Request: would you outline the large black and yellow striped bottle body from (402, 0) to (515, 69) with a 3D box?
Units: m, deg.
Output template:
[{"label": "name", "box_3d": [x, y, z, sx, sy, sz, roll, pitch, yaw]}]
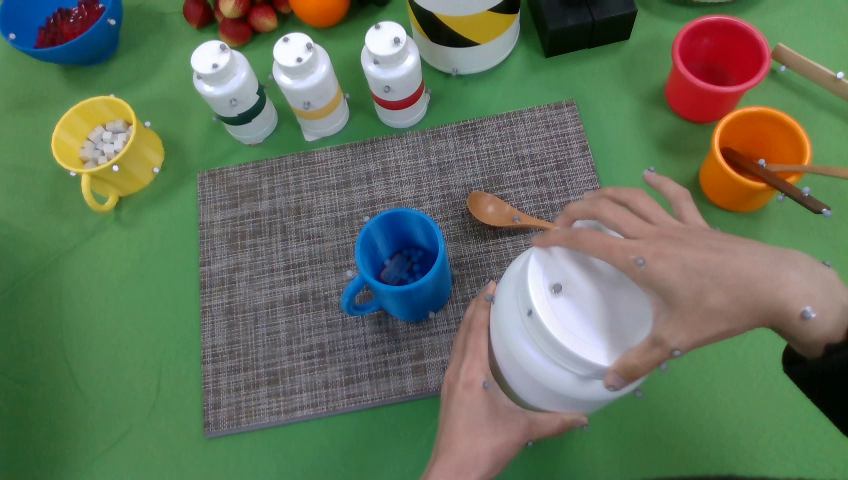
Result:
[{"label": "large black and yellow striped bottle body", "box_3d": [0.036, -0.294, 0.667, 0.130, 0.185, 0.130, -2, 69, 5]}]

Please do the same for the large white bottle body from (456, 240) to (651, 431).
[{"label": "large white bottle body", "box_3d": [0.108, 0.075, 0.502, 0.131, 0.185, 0.129, 5, 60, -9]}]

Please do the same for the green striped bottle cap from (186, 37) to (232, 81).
[{"label": "green striped bottle cap", "box_3d": [-0.225, -0.189, 0.632, 0.044, 0.020, 0.044, -1, 68, 4]}]

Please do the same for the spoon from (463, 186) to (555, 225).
[{"label": "spoon", "box_3d": [0.132, -0.015, 0.635, 0.193, 0.022, 0.041, 19, 51, 12]}]

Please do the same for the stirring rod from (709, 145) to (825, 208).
[{"label": "stirring rod", "box_3d": [0.320, -0.065, 0.578, 0.014, 0.006, 0.174, -9, 25, -1]}]

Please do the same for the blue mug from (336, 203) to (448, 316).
[{"label": "blue mug", "box_3d": [-0.034, 0.031, 0.590, 0.116, 0.106, 0.081, -35, 69, -7]}]

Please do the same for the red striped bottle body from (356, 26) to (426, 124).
[{"label": "red striped bottle body", "box_3d": [-0.036, -0.186, 0.668, 0.063, 0.120, 0.062, -3, 68, 8]}]

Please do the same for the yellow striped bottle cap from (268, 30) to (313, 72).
[{"label": "yellow striped bottle cap", "box_3d": [-0.138, -0.196, 0.626, 0.044, 0.019, 0.044, 0, 64, 1]}]

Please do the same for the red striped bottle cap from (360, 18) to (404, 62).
[{"label": "red striped bottle cap", "box_3d": [-0.043, -0.205, 0.620, 0.044, 0.018, 0.044, -1, 67, 2]}]

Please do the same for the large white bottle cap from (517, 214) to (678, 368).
[{"label": "large white bottle cap", "box_3d": [0.123, 0.033, 0.427, 0.115, 0.018, 0.114, 5, 60, -9]}]

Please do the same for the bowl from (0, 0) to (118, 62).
[{"label": "bowl", "box_3d": [-0.451, -0.282, 0.769, 0.151, 0.077, 0.150, -2, 69, 5]}]

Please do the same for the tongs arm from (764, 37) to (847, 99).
[{"label": "tongs arm", "box_3d": [0.542, -0.118, 0.629, 0.382, 0.027, 0.050, 40, 74, 17]}]

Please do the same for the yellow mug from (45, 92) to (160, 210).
[{"label": "yellow mug", "box_3d": [-0.370, -0.097, 0.697, 0.100, 0.064, 0.130, -2, 70, 5]}]

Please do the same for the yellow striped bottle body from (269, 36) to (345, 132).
[{"label": "yellow striped bottle body", "box_3d": [-0.131, -0.177, 0.674, 0.063, 0.121, 0.062, -2, 68, 6]}]

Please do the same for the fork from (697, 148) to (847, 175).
[{"label": "fork", "box_3d": [0.351, -0.069, 0.569, 0.028, 0.019, 0.205, -48, 28, -12]}]

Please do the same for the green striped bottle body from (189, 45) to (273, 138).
[{"label": "green striped bottle body", "box_3d": [-0.218, -0.171, 0.681, 0.063, 0.120, 0.062, -2, 69, 5]}]
